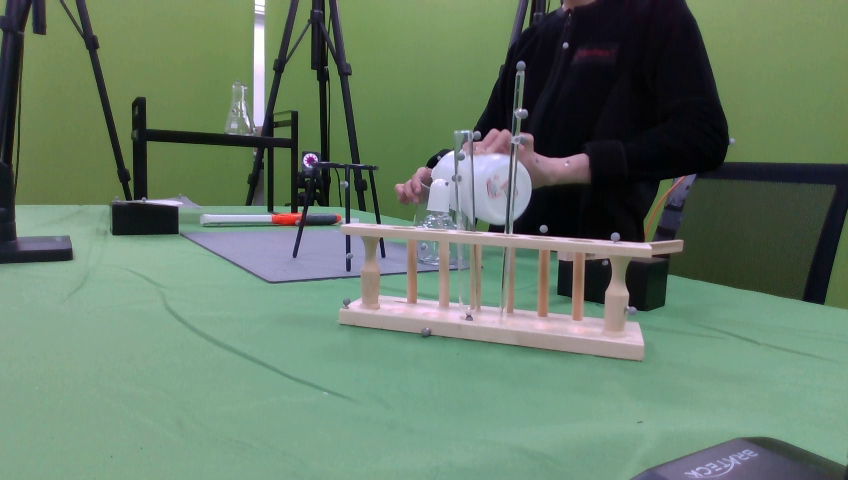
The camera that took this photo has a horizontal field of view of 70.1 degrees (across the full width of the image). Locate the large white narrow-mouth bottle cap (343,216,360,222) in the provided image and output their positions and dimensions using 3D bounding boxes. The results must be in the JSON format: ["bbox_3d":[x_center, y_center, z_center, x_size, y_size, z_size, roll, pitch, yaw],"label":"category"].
[{"bbox_3d":[-0.148,-0.036,1.234,0.038,0.024,0.037,2,8,0],"label":"large white narrow-mouth bottle cap"}]

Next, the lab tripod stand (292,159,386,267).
[{"bbox_3d":[-0.104,-0.039,0.798,0.148,0.131,0.148,2,5,0],"label":"lab tripod stand"}]

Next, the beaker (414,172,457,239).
[{"bbox_3d":[0.024,-0.057,1.041,0.074,0.100,0.083,0,27,-19],"label":"beaker"}]

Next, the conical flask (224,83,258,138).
[{"bbox_3d":[-0.422,-0.299,1.395,0.075,0.122,0.075,2,7,0],"label":"conical flask"}]

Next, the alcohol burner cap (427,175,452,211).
[{"bbox_3d":[0.023,-0.064,0.822,0.034,0.048,0.034,7,5,0],"label":"alcohol burner cap"}]

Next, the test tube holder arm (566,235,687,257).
[{"bbox_3d":[0.215,0.006,0.630,0.179,0.015,0.013,-3,9,-31],"label":"test tube holder arm"}]

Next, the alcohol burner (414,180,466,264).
[{"bbox_3d":[0.021,-0.028,0.826,0.078,0.119,0.078,0,6,0],"label":"alcohol burner"}]

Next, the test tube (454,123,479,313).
[{"bbox_3d":[0.034,-0.016,0.477,0.017,0.150,0.017,-2,9,1],"label":"test tube"}]

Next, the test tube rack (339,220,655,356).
[{"bbox_3d":[0.056,0.032,0.495,0.242,0.085,0.067,4,7,15],"label":"test tube rack"}]

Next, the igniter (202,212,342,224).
[{"bbox_3d":[-0.298,-0.044,1.216,0.278,0.025,0.057,-2,-2,-33],"label":"igniter"}]

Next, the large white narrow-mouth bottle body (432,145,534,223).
[{"bbox_3d":[0.074,-0.093,0.931,0.102,0.101,0.193,-2,16,-31],"label":"large white narrow-mouth bottle body"}]

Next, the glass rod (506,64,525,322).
[{"bbox_3d":[0.069,-0.030,0.458,0.008,0.199,0.008,0,15,0],"label":"glass rod"}]

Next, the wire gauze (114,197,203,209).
[{"bbox_3d":[-0.447,-0.062,1.015,0.126,0.011,0.121,-2,8,-31],"label":"wire gauze"}]

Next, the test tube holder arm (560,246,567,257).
[{"bbox_3d":[0.173,0.007,0.611,0.088,0.015,0.010,-3,9,-30],"label":"test tube holder arm"}]
